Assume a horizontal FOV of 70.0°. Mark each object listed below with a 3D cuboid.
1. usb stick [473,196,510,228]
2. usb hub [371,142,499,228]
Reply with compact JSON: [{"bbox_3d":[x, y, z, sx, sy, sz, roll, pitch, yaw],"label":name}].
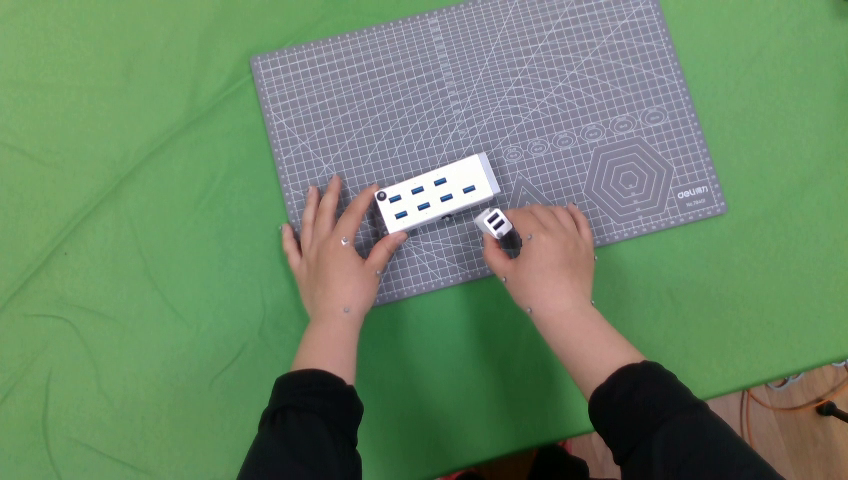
[{"bbox_3d":[0.067,-0.029,0.611,0.021,0.059,0.027,-42,95,1],"label":"usb stick"},{"bbox_3d":[0.011,-0.058,0.633,0.125,0.025,0.049,-21,83,-1],"label":"usb hub"}]
